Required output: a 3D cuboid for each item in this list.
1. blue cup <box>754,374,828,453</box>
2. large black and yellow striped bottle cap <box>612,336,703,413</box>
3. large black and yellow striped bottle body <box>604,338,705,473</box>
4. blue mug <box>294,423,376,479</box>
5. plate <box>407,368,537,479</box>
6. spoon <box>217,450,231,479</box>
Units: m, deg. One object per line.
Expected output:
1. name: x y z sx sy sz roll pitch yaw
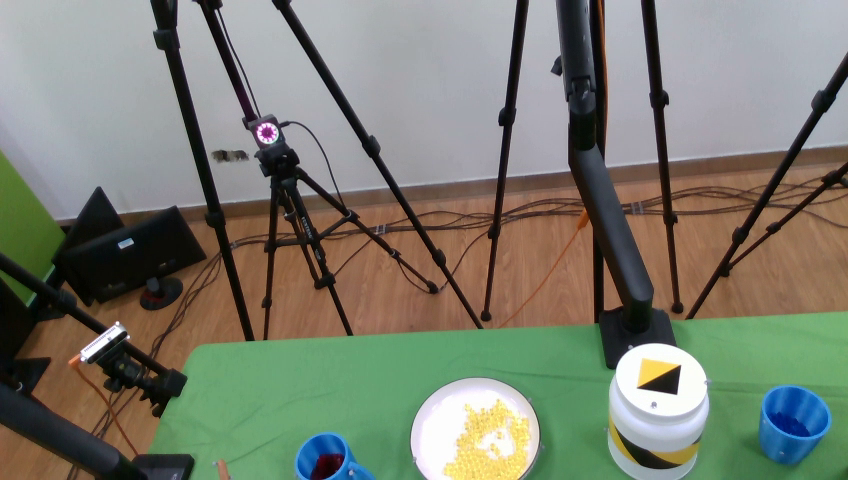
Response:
1. blue cup: 0.516 0.256 0.867 0.092 0.101 0.091 -8 44 9
2. large black and yellow striped bottle cap: 0.312 0.178 0.814 0.115 0.019 0.114 -7 42 7
3. large black and yellow striped bottle body: 0.328 0.237 0.873 0.130 0.186 0.129 -7 44 7
4. blue mug: -0.129 0.347 0.930 0.116 0.107 0.082 5 46 18
5. plate: 0.077 0.304 0.974 0.209 0.038 0.207 -7 44 7
6. spoon: -0.275 0.401 0.881 0.041 0.021 0.193 -13 88 -2
